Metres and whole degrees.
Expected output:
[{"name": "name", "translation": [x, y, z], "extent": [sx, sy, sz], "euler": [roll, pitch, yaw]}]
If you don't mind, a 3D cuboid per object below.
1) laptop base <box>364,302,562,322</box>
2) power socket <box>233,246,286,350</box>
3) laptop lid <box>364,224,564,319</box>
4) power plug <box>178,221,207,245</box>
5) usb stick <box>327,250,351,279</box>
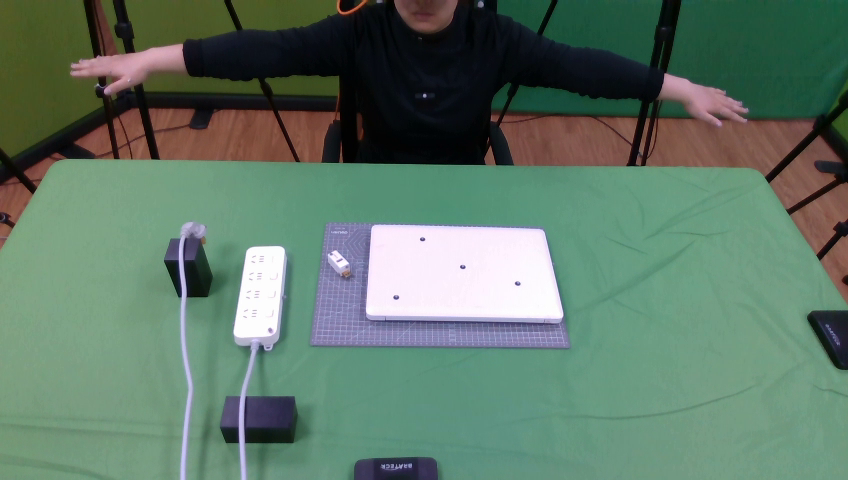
[{"name": "laptop base", "translation": [0.070, 0.063, 1.145], "extent": [0.354, 0.023, 0.234], "euler": [1, 43, -3]}, {"name": "power socket", "translation": [-0.290, 0.094, 1.077], "extent": [0.072, 0.033, 0.225], "euler": [-2, 46, -5]}, {"name": "laptop lid", "translation": [0.070, 0.053, 1.138], "extent": [0.357, 0.013, 0.240], "euler": [3, 44, -2]}, {"name": "power plug", "translation": [-0.413, -0.003, 1.069], "extent": [0.035, 0.053, 0.072], "euler": [-1, 41, 24]}, {"name": "usb stick", "translation": [-0.158, 0.047, 1.133], "extent": [0.021, 0.027, 0.059], "euler": [-29, 58, -27]}]
